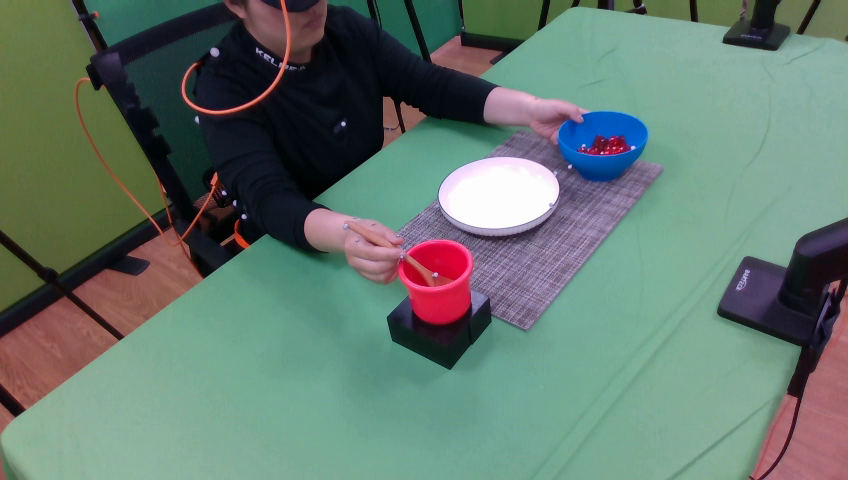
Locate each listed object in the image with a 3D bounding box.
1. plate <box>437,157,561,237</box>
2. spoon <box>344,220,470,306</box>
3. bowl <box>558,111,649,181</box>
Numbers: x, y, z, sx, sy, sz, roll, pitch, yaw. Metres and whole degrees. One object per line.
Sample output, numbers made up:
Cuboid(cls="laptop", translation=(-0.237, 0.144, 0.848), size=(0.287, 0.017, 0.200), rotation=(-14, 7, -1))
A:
Cuboid(cls="plate", translation=(0.127, -0.070, 1.023), size=(0.207, 0.039, 0.206), rotation=(-5, 40, 5))
Cuboid(cls="spoon", translation=(-0.020, 0.027, 0.779), size=(0.195, 0.021, 0.041), rotation=(37, 44, -16))
Cuboid(cls="bowl", translation=(0.310, -0.156, 1.058), size=(0.151, 0.077, 0.150), rotation=(-5, 40, 5))
